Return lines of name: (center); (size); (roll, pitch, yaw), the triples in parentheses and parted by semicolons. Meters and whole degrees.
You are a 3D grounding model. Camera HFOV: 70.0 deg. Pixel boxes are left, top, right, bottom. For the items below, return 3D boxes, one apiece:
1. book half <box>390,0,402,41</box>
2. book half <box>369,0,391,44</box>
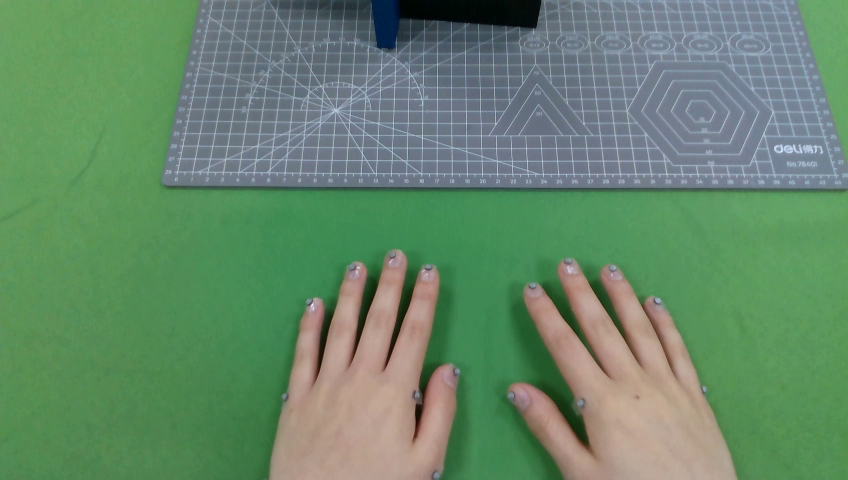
book half: (-0.016, -0.251, 0.372); (0.007, 0.211, 0.142); (6, 66, 4)
book half: (-0.024, -0.249, 0.370); (0.016, 0.212, 0.147); (5, 66, 3)
